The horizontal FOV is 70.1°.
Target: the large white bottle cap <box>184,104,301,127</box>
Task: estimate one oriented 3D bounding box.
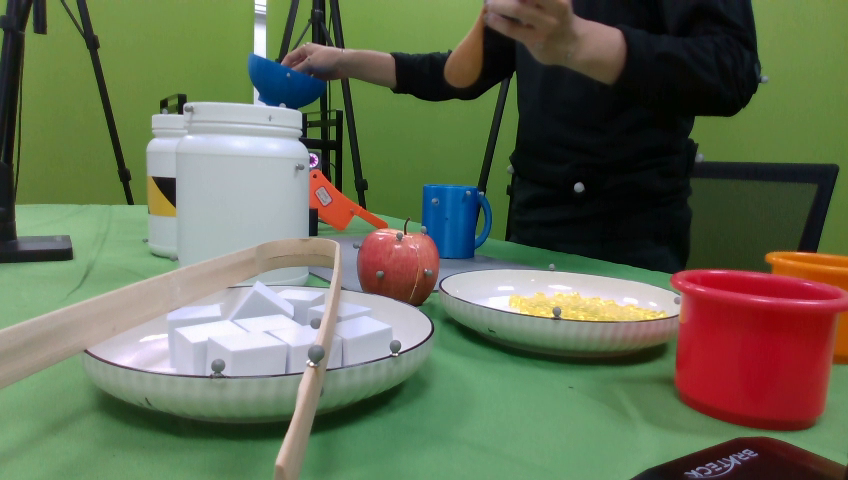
[{"bbox_3d":[-0.184,-0.126,0.618,0.115,0.018,0.115,2,8,0],"label":"large white bottle cap"}]

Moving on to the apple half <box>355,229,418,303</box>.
[{"bbox_3d":[-0.043,0.027,0.564,0.081,0.081,0.033,9,5,43],"label":"apple half"}]

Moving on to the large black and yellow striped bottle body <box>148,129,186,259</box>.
[{"bbox_3d":[-0.310,-0.073,0.838,0.131,0.184,0.130,2,8,0],"label":"large black and yellow striped bottle body"}]

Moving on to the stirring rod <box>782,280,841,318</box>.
[{"bbox_3d":[0.344,0.019,0.460,0.014,0.006,0.176,-14,-27,-30],"label":"stirring rod"}]

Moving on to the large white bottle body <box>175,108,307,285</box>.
[{"bbox_3d":[-0.188,-0.042,0.630,0.131,0.184,0.130,2,8,0],"label":"large white bottle body"}]

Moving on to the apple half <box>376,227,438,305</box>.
[{"bbox_3d":[-0.017,0.026,0.593,0.080,0.074,0.053,4,2,43],"label":"apple half"}]

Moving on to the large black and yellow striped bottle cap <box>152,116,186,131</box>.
[{"bbox_3d":[-0.309,-0.155,0.826,0.115,0.019,0.115,3,6,0],"label":"large black and yellow striped bottle cap"}]

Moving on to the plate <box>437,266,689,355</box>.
[{"bbox_3d":[0.114,0.057,0.517,0.209,0.038,0.209,3,7,0],"label":"plate"}]

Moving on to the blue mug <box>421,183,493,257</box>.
[{"bbox_3d":[0.052,-0.032,0.912,0.117,0.106,0.082,-1,8,-24],"label":"blue mug"}]

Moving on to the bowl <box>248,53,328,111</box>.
[{"bbox_3d":[-0.265,-0.286,1.140,0.151,0.077,0.151,20,11,-4],"label":"bowl"}]

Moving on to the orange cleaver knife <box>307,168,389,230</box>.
[{"bbox_3d":[-0.158,-0.060,1.166,0.212,0.077,0.012,34,-12,-32],"label":"orange cleaver knife"}]

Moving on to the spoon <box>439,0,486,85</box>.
[{"bbox_3d":[0.061,-0.258,0.662,0.042,0.193,0.021,18,28,-7],"label":"spoon"}]

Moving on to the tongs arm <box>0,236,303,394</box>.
[{"bbox_3d":[-0.157,0.038,0.351,0.028,0.028,0.388,-3,8,12],"label":"tongs arm"}]

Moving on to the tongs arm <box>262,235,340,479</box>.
[{"bbox_3d":[-0.074,0.039,0.349,0.051,0.026,0.384,-2,10,-3],"label":"tongs arm"}]

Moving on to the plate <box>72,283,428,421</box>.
[{"bbox_3d":[-0.102,0.066,0.381,0.208,0.039,0.207,2,7,0],"label":"plate"}]

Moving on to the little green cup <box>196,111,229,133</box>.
[{"bbox_3d":[-0.403,-0.225,1.154,0.061,0.038,0.061,3,8,0],"label":"little green cup"}]

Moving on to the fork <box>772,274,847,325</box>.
[{"bbox_3d":[0.332,0.018,0.443,0.028,0.018,0.207,-1,-36,-16],"label":"fork"}]
